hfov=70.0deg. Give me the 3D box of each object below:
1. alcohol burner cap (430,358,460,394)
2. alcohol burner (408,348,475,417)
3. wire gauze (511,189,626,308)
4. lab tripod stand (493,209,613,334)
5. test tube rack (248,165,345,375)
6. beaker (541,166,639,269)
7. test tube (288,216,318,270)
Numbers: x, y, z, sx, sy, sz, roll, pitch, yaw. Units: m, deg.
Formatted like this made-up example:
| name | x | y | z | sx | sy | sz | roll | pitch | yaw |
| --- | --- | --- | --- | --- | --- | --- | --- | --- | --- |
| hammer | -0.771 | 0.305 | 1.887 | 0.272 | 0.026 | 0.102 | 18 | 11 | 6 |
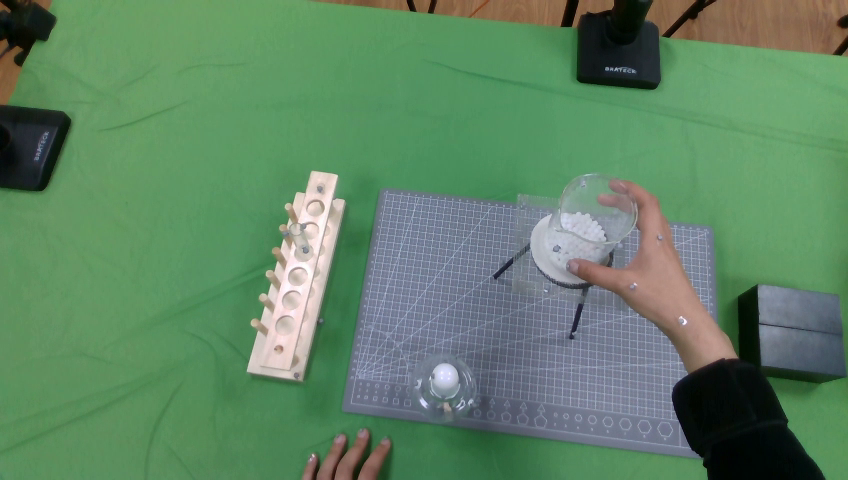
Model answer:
| name | x | y | z | sx | sy | sz | roll | pitch | yaw |
| --- | --- | --- | --- | --- | --- | --- | --- | --- | --- |
| alcohol burner cap | 0.022 | 0.143 | 0.643 | 0.034 | 0.048 | 0.033 | -1 | 64 | 3 |
| alcohol burner | 0.021 | 0.157 | 0.677 | 0.078 | 0.120 | 0.077 | 1 | 69 | -3 |
| wire gauze | 0.158 | 0.006 | 0.656 | 0.125 | 0.011 | 0.120 | 9 | 70 | -1 |
| lab tripod stand | 0.162 | 0.026 | 0.718 | 0.148 | 0.132 | 0.147 | 0 | 67 | 0 |
| test tube rack | -0.159 | 0.033 | 0.737 | 0.067 | 0.086 | 0.241 | 9 | 70 | 3 |
| beaker | 0.160 | -0.016 | 0.613 | 0.084 | 0.101 | 0.073 | -25 | 72 | -10 |
| test tube | -0.137 | 0.007 | 0.694 | 0.017 | 0.151 | 0.017 | 1 | 70 | -3 |
